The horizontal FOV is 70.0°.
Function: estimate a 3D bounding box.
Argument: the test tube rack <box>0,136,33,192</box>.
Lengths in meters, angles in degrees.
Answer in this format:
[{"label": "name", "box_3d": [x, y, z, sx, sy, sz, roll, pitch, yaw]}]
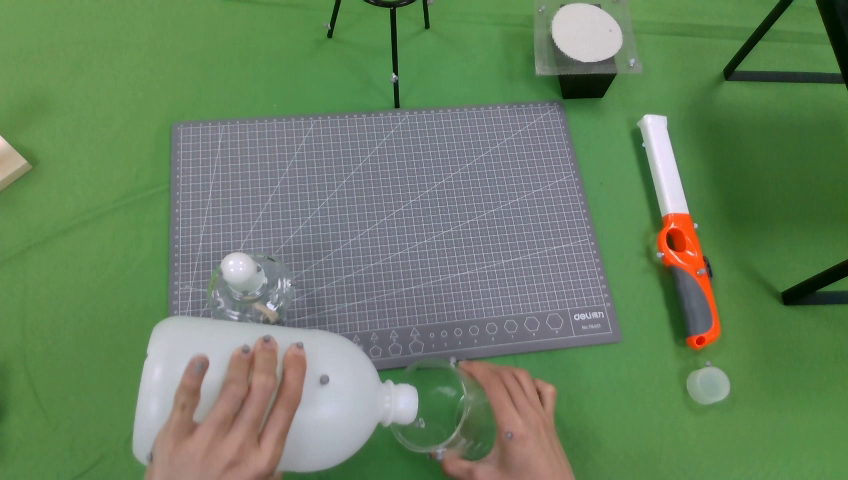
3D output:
[{"label": "test tube rack", "box_3d": [-0.513, -0.032, 0.566, 0.066, 0.085, 0.242, 41, 70, 11]}]

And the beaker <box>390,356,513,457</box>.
[{"label": "beaker", "box_3d": [0.025, 0.147, 0.521, 0.083, 0.101, 0.073, -14, 62, 29]}]

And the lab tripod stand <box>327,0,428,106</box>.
[{"label": "lab tripod stand", "box_3d": [-0.041, -0.247, 0.675, 0.148, 0.132, 0.147, 3, 69, -6]}]

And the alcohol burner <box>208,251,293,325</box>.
[{"label": "alcohol burner", "box_3d": [-0.161, 0.040, 0.555, 0.078, 0.120, 0.077, 3, 66, -6]}]

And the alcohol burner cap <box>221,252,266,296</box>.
[{"label": "alcohol burner cap", "box_3d": [-0.157, 0.028, 0.521, 0.034, 0.048, 0.033, 1, 73, -2]}]

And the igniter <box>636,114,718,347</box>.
[{"label": "igniter", "box_3d": [0.279, -0.018, 0.673, 0.057, 0.025, 0.274, 2, 68, -16]}]

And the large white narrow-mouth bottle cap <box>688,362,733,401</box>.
[{"label": "large white narrow-mouth bottle cap", "box_3d": [0.289, 0.143, 0.614, 0.038, 0.024, 0.037, 2, 67, -4]}]

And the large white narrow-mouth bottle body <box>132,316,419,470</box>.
[{"label": "large white narrow-mouth bottle body", "box_3d": [-0.099, 0.115, 0.443, 0.196, 0.102, 0.101, 9, 66, -19]}]

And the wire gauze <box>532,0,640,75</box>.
[{"label": "wire gauze", "box_3d": [0.186, -0.244, 0.711, 0.121, 0.011, 0.124, 2, 68, -5]}]
